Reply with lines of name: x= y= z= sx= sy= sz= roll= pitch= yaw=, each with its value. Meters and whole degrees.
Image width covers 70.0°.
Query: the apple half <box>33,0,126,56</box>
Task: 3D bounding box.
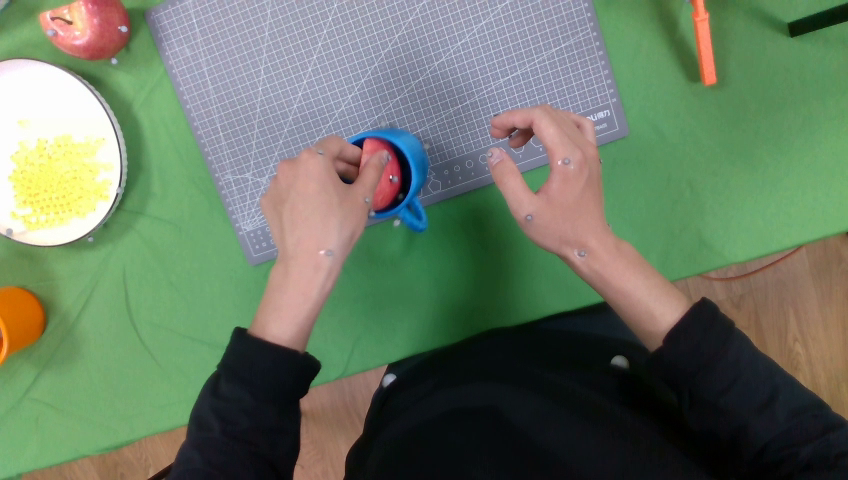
apple half: x=-0.351 y=-0.220 z=0.631 sx=0.081 sy=0.074 sz=0.053 roll=-15 pitch=104 yaw=4

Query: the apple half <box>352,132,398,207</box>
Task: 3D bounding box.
apple half: x=-0.041 y=-0.067 z=0.588 sx=0.032 sy=0.081 sz=0.081 roll=10 pitch=103 yaw=13

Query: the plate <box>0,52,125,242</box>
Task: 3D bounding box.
plate: x=-0.434 y=-0.102 z=0.682 sx=0.209 sy=0.038 sz=0.210 roll=1 pitch=103 yaw=5

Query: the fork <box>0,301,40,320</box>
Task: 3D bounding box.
fork: x=-0.553 y=0.099 z=0.679 sx=0.208 sy=0.018 sz=0.028 roll=-11 pitch=104 yaw=-37

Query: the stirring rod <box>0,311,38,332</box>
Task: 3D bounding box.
stirring rod: x=-0.538 y=0.115 z=0.684 sx=0.176 sy=0.006 sz=0.014 roll=-19 pitch=91 yaw=-33

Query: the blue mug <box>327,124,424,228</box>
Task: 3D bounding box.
blue mug: x=-0.037 y=-0.062 z=0.622 sx=0.082 sy=0.105 sz=0.117 roll=-33 pitch=98 yaw=11

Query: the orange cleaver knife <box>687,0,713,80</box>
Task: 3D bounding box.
orange cleaver knife: x=0.249 y=-0.255 z=0.570 sx=0.012 sy=0.076 sz=0.213 roll=-15 pitch=127 yaw=17
